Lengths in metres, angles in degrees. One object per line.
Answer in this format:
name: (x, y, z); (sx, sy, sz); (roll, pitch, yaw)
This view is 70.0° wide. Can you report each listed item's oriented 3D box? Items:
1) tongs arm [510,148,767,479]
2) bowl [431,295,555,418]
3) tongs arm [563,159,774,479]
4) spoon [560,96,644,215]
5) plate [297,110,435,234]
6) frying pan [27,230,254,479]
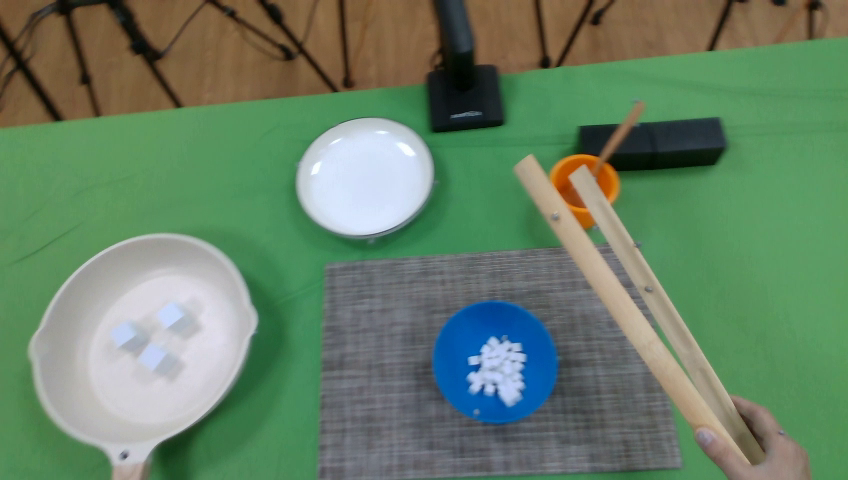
tongs arm: (0.200, 0.072, 0.580); (0.028, 0.028, 0.386); (-38, 80, 25)
bowl: (0.086, 0.153, 0.764); (0.151, 0.077, 0.150); (-2, 66, 4)
tongs arm: (0.243, 0.070, 0.642); (0.026, 0.051, 0.382); (-38, 68, 28)
spoon: (0.241, -0.110, 0.830); (0.041, 0.194, 0.022); (44, 33, 24)
plate: (-0.086, -0.101, 0.917); (0.207, 0.039, 0.206); (-2, 67, 5)
frying pan: (-0.364, 0.217, 0.768); (0.307, 0.104, 0.483); (-6, 58, 3)
